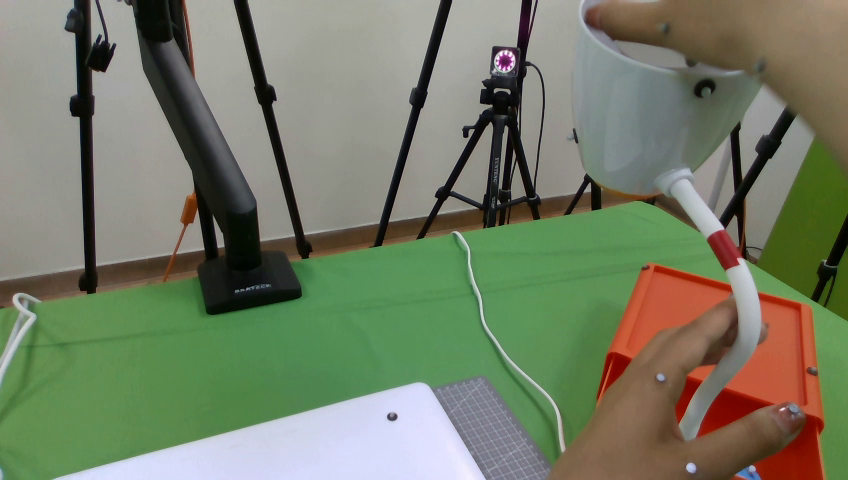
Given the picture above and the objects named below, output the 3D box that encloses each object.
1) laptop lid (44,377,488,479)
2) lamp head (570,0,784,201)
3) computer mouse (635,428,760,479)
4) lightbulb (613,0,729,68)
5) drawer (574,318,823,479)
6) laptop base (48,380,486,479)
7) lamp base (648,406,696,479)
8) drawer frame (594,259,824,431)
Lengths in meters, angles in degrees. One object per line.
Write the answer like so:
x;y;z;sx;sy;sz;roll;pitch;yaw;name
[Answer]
-0.113;0.228;0.484;0.358;0.013;0.239;-9;34;-21;laptop lid
0.143;-0.085;0.375;0.112;0.124;0.111;-1;44;1;lamp head
0.248;0.211;0.549;0.117;0.041;0.062;15;30;13;computer mouse
0.136;-0.110;0.358;0.059;0.108;0.059;4;51;-4;lightbulb
0.269;0.171;0.594;0.193;0.074;0.211;14;31;21;drawer
-0.115;0.237;0.492;0.355;0.023;0.233;-10;35;-23;laptop base
0.164;0.213;0.397;0.161;0.181;0.177;1;27;-8;lamp base
0.318;0.122;0.682;0.200;0.083;0.213;15;31;21;drawer frame
